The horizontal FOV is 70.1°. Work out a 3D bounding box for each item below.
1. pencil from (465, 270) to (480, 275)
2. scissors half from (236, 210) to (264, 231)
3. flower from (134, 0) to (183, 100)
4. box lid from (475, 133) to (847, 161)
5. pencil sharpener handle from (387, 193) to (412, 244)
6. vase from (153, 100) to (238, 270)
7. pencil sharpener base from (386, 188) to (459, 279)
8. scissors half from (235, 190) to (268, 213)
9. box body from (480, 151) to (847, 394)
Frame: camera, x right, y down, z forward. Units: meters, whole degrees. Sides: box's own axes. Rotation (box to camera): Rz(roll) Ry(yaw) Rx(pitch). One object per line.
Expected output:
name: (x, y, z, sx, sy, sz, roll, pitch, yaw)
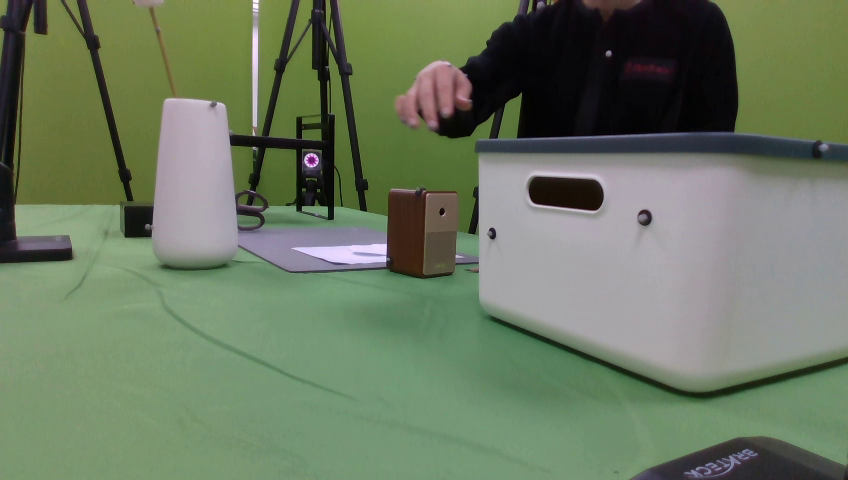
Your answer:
pencil: (0.149, 0.041, 0.804, 0.194, 0.012, 0.012, -1, 8, -10)
scissors half: (-0.369, -0.051, 1.065, 0.176, 0.040, 0.012, 19, 14, -27)
flower: (-0.282, -0.147, 0.713, 0.038, 0.362, 0.044, -23, 24, -31)
box lid: (0.255, -0.073, 0.529, 0.373, 0.015, 0.262, -2, 8, -31)
pencil sharpener handle: (-0.038, -0.029, 0.797, 0.036, 0.067, 0.030, -13, 15, -42)
vase: (-0.278, -0.066, 0.736, 0.098, 0.200, 0.098, 2, 9, 0)
pencil sharpener base: (-0.004, -0.011, 0.761, 0.062, 0.107, 0.076, -5, 10, -44)
scissors half: (-0.363, -0.070, 1.060, 0.176, 0.040, 0.013, 0, 16, -23)
box body: (0.254, 0.002, 0.539, 0.366, 0.160, 0.253, -2, 9, -31)
